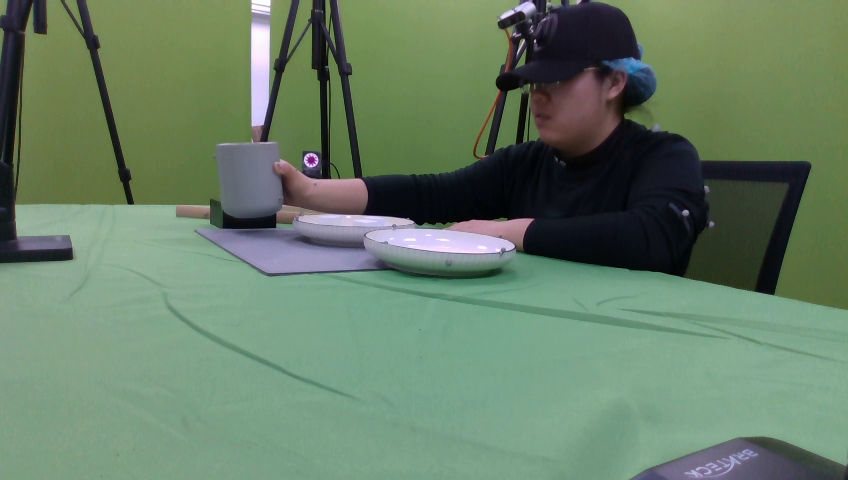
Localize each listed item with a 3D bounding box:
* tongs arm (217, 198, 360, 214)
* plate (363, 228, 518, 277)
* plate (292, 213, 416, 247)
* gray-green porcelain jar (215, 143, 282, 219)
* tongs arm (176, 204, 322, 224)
[{"bbox_3d":[-0.313,-0.064,1.352,0.384,0.026,0.051,6,8,17],"label":"tongs arm"},{"bbox_3d":[0.021,0.016,0.817,0.209,0.038,0.209,4,9,0],"label":"plate"},{"bbox_3d":[-0.118,-0.017,1.024,0.208,0.039,0.207,2,8,0],"label":"plate"},{"bbox_3d":[-0.305,-0.105,1.058,0.106,0.126,0.106,-2,12,1],"label":"gray-green porcelain jar"},{"bbox_3d":[-0.333,-0.052,1.273,0.387,0.028,0.028,4,4,4],"label":"tongs arm"}]
